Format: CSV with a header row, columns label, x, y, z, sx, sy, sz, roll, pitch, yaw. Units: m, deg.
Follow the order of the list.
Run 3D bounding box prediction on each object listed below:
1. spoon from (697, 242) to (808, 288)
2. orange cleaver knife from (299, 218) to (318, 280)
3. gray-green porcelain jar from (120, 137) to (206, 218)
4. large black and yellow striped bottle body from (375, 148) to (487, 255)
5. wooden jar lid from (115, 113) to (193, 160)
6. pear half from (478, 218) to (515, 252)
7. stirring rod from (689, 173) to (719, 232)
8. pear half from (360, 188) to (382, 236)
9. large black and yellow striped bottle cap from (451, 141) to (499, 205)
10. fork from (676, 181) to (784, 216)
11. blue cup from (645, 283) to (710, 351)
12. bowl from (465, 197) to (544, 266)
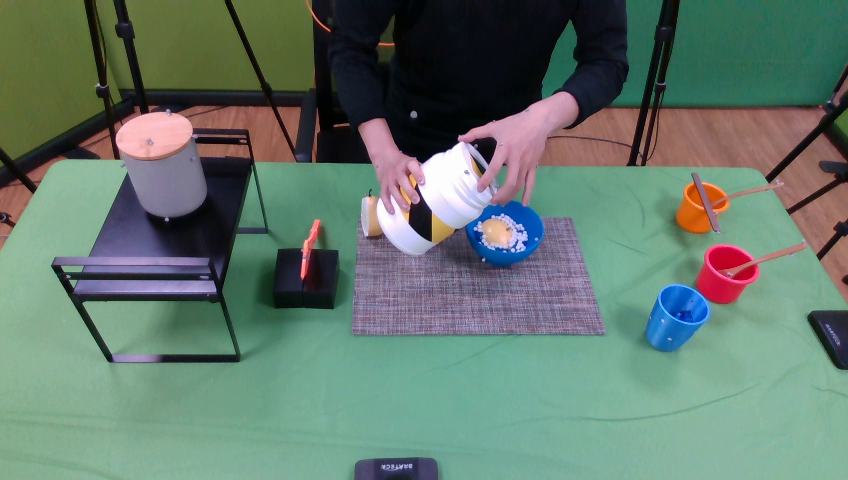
label,x,y,z,sx,sy,sz,roll,pitch,yaw
spoon,0.601,0.045,1.116,0.194,0.022,0.041,-29,34,30
orange cleaver knife,-0.214,0.013,1.125,0.012,0.077,0.210,6,17,-5
gray-green porcelain jar,-0.403,-0.106,0.946,0.106,0.127,0.105,3,46,-2
large black and yellow striped bottle body,0.020,-0.070,1.049,0.131,0.184,0.130,37,35,-31
wooden jar lid,-0.399,-0.151,0.900,0.108,0.021,0.107,3,46,-3
pear half,0.144,-0.013,1.167,0.070,0.031,0.087,-21,55,-20
stirring rod,0.566,-0.080,1.225,0.014,0.006,0.175,2,45,2
pear half,-0.096,-0.060,1.181,0.056,0.110,0.076,-13,52,-17
large black and yellow striped bottle cap,0.086,-0.112,1.007,0.019,0.115,0.114,-32,41,25
fork,0.618,-0.084,1.235,0.207,0.019,0.028,-23,21,38
blue cup,0.426,0.139,1.041,0.093,0.101,0.092,3,46,-3
bowl,0.149,-0.004,1.167,0.151,0.077,0.150,3,46,-2
